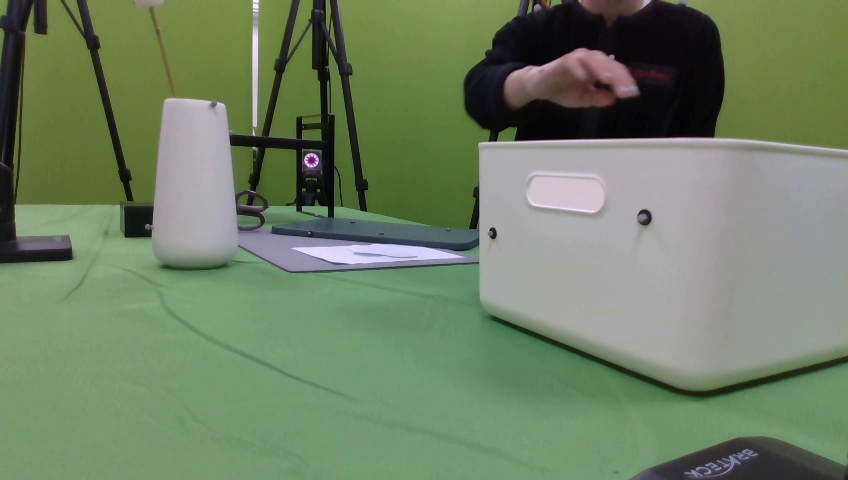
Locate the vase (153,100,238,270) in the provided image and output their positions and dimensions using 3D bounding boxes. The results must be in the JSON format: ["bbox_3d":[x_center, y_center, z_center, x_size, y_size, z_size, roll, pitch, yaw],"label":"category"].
[{"bbox_3d":[-0.278,-0.066,0.736,0.098,0.200,0.098,2,9,0],"label":"vase"}]

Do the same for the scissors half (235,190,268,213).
[{"bbox_3d":[-0.363,-0.070,1.060,0.176,0.040,0.013,0,16,-23],"label":"scissors half"}]

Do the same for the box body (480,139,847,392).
[{"bbox_3d":[0.255,0.001,0.541,0.366,0.160,0.253,-2,9,-31],"label":"box body"}]

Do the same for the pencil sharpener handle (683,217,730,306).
[{"bbox_3d":[0.224,0.017,0.476,0.036,0.067,0.030,8,9,6],"label":"pencil sharpener handle"}]

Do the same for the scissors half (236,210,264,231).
[{"bbox_3d":[-0.369,-0.051,1.065,0.176,0.040,0.012,19,13,-27],"label":"scissors half"}]

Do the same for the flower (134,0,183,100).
[{"bbox_3d":[-0.282,-0.147,0.713,0.038,0.362,0.044,-23,24,-31],"label":"flower"}]

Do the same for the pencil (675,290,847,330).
[{"bbox_3d":[0.331,0.067,0.608,0.012,0.012,0.193,-1,5,-26],"label":"pencil"}]

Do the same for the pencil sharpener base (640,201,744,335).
[{"bbox_3d":[0.232,0.022,0.528,0.061,0.107,0.077,4,8,7],"label":"pencil sharpener base"}]

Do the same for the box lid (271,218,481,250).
[{"bbox_3d":[-0.072,-0.014,1.141,0.371,0.015,0.264,5,7,16],"label":"box lid"}]
